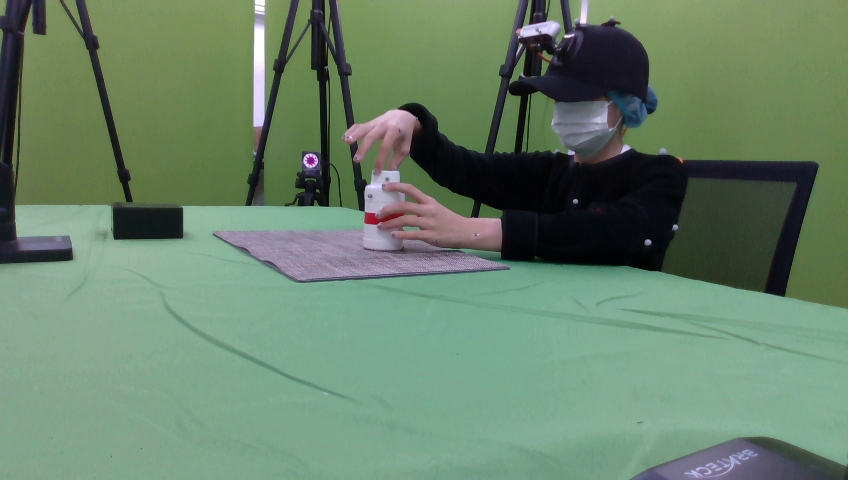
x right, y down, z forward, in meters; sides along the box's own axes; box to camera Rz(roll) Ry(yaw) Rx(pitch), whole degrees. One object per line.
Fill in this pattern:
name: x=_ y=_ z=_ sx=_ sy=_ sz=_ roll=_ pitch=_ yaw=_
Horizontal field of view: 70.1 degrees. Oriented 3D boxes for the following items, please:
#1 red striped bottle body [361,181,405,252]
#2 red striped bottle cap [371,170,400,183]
red striped bottle body: x=-0.063 y=-0.044 z=0.933 sx=0.063 sy=0.119 sz=0.063 roll=4 pitch=7 yaw=0
red striped bottle cap: x=-0.059 y=-0.097 z=0.926 sx=0.044 sy=0.017 sz=0.044 roll=4 pitch=4 yaw=0
